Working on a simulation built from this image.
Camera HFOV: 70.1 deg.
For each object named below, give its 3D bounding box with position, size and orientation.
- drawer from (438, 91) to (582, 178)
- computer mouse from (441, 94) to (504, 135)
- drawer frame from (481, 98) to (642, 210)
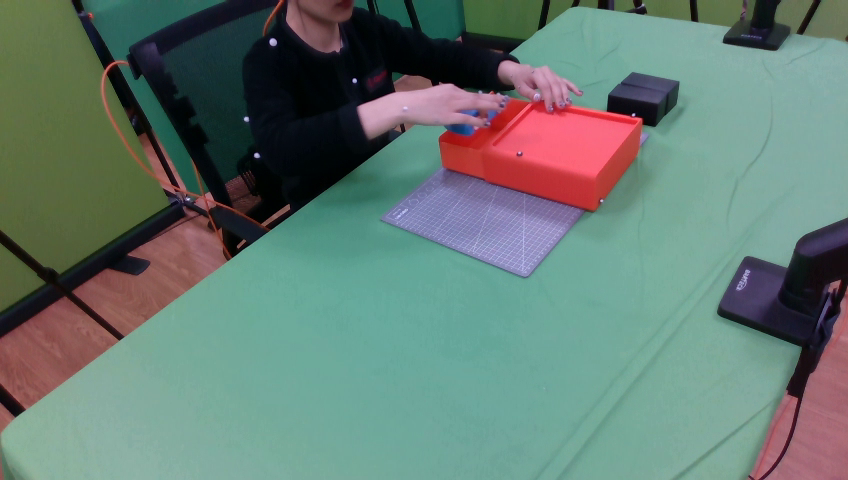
[{"bbox_3d":[0.166,-0.188,1.123,0.210,0.073,0.195,20,48,30],"label":"drawer"},{"bbox_3d":[0.086,-0.231,1.074,0.117,0.041,0.062,-38,44,-28],"label":"computer mouse"},{"bbox_3d":[0.244,-0.160,1.073,0.212,0.083,0.202,20,47,29],"label":"drawer frame"}]
